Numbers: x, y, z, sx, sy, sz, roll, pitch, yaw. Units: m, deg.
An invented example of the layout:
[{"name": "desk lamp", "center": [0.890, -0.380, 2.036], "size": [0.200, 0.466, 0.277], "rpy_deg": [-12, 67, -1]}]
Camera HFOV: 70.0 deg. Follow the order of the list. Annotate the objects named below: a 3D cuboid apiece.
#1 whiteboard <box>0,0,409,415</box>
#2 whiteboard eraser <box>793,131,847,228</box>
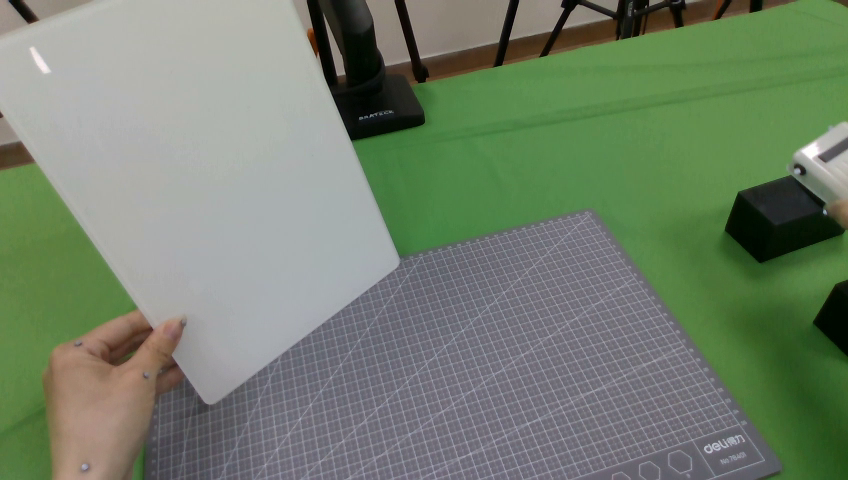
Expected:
[{"name": "whiteboard", "center": [-0.181, -0.053, 0.524], "size": [0.217, 0.308, 0.142], "rpy_deg": [-36, 31, -26]}, {"name": "whiteboard eraser", "center": [0.347, -0.031, 0.462], "size": [0.055, 0.042, 0.111], "rpy_deg": [-35, 55, 3]}]
